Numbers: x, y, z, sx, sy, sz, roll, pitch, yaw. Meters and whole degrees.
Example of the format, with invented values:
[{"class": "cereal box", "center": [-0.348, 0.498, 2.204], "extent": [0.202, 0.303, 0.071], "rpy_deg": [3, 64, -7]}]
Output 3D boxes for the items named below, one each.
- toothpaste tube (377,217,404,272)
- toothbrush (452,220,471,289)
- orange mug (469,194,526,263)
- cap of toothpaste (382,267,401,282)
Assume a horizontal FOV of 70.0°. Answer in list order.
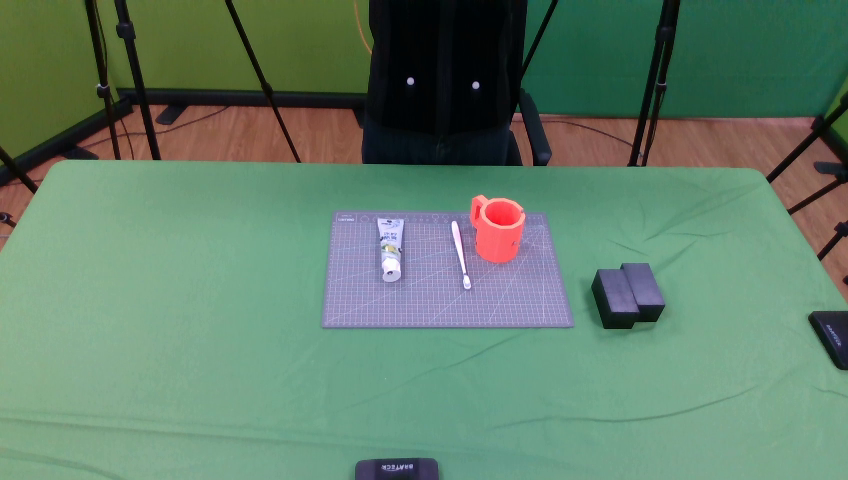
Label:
[{"class": "toothpaste tube", "center": [-0.063, 0.008, 1.179], "extent": [0.055, 0.034, 0.164], "rpy_deg": [4, 42, -9]}, {"class": "toothbrush", "center": [0.071, 0.024, 1.180], "extent": [0.014, 0.017, 0.180], "rpy_deg": [-13, 45, 5]}, {"class": "orange mug", "center": [0.136, -0.030, 1.180], "extent": [0.083, 0.101, 0.125], "rpy_deg": [-27, 58, -26]}, {"class": "cap of toothpaste", "center": [-0.060, 0.063, 1.119], "extent": [0.037, 0.037, 0.011], "rpy_deg": [-9, 50, -12]}]
